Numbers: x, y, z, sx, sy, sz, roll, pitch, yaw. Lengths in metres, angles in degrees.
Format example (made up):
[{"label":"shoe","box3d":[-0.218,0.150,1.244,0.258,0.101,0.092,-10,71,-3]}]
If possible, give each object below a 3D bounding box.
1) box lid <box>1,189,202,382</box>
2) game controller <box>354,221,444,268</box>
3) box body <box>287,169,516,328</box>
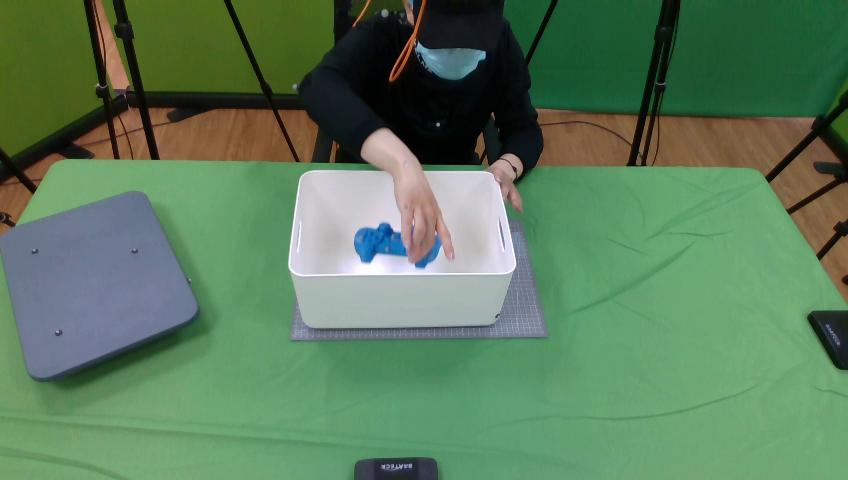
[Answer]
[{"label":"box lid","box3d":[-0.565,0.059,1.050,0.263,0.015,0.369,-23,52,-23]},{"label":"game controller","box3d":[-0.045,-0.001,1.036,0.155,0.052,0.096,5,35,5]},{"label":"box body","box3d":[-0.040,0.015,1.075,0.364,0.161,0.252,-1,47,-4]}]
